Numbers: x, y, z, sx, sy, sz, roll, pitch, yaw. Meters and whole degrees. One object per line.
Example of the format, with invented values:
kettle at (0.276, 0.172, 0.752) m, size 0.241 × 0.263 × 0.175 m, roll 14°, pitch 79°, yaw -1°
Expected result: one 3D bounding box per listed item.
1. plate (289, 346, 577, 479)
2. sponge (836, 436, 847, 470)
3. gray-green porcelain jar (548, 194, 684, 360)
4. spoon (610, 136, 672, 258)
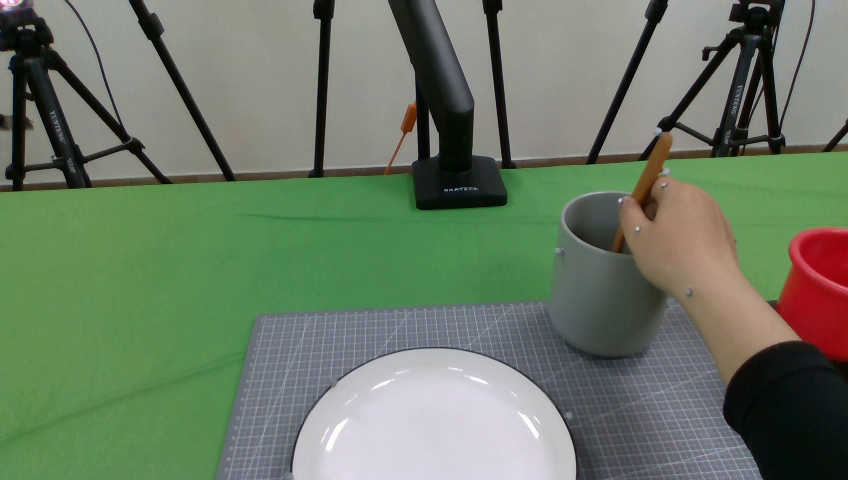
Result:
plate at (0.007, 0.166, 0.454) m, size 0.208 × 0.039 × 0.205 m, roll 0°, pitch 35°, yaw 0°
sponge at (0.396, 0.200, 0.388) m, size 0.118 × 0.061 × 0.204 m, roll -5°, pitch 35°, yaw -7°
gray-green porcelain jar at (0.170, 0.038, 0.558) m, size 0.106 × 0.127 × 0.105 m, roll -1°, pitch 35°, yaw 1°
spoon at (0.174, 0.000, 0.524) m, size 0.022 × 0.195 × 0.041 m, roll -7°, pitch 39°, yaw -19°
